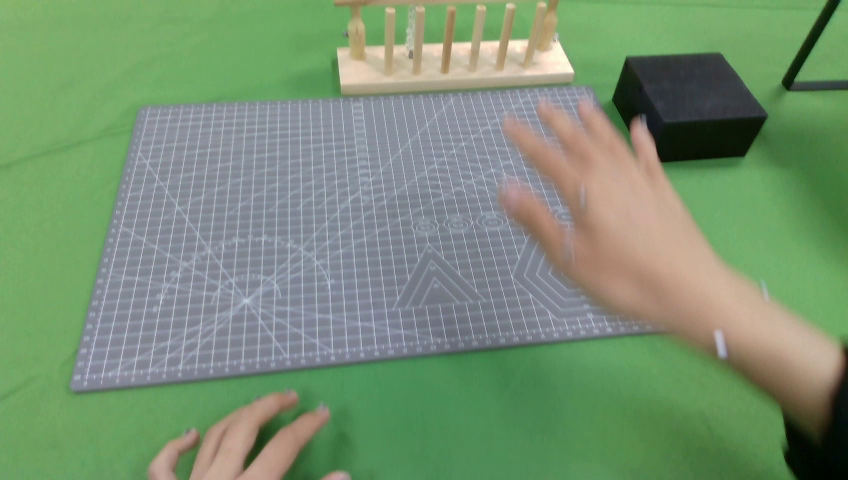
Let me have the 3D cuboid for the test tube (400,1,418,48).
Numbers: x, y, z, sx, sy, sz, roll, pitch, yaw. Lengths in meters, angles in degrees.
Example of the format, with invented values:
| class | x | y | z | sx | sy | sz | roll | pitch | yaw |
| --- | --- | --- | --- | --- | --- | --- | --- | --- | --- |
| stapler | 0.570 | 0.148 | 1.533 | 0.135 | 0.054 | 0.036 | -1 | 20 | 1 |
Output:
| class | x | y | z | sx | sy | sz | roll | pitch | yaw |
| --- | --- | --- | --- | --- | --- | --- | --- | --- | --- |
| test tube | -0.011 | -0.255 | 0.582 | 0.017 | 0.151 | 0.017 | 4 | 46 | -4 |

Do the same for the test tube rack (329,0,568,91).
| class | x | y | z | sx | sy | sz | roll | pitch | yaw |
| --- | --- | --- | --- | --- | --- | --- | --- | --- | --- |
| test tube rack | 0.029 | -0.212 | 0.614 | 0.243 | 0.086 | 0.066 | -5 | 51 | -8 |
